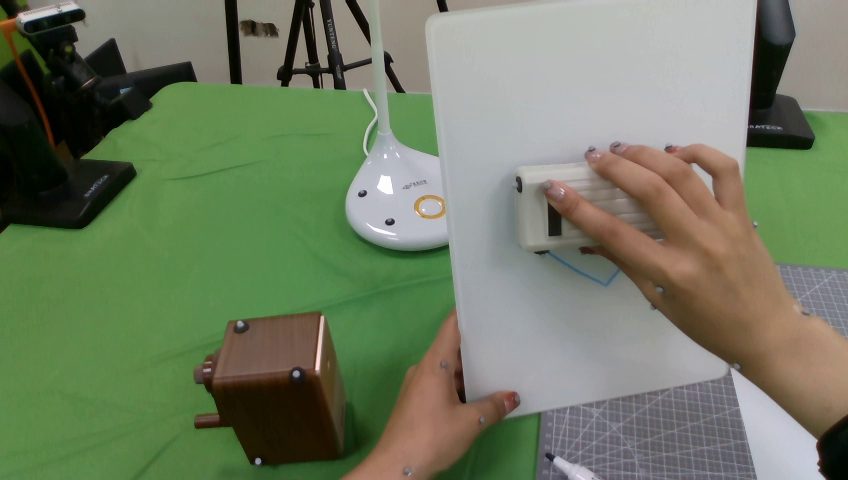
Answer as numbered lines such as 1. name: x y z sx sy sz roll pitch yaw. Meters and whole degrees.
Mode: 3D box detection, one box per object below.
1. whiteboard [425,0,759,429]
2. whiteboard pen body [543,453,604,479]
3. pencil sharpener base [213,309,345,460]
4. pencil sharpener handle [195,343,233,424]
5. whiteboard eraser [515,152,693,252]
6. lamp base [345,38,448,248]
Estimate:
1. whiteboard: 0.116 -0.034 0.490 0.217 0.307 0.142 -9 22 -4
2. whiteboard pen body: 0.141 0.183 0.409 0.139 0.017 0.017 25 48 33
3. pencil sharpener base: -0.104 0.109 0.449 0.077 0.108 0.060 -5 41 0
4. pencil sharpener handle: -0.156 0.107 0.437 0.030 0.068 0.035 -5 28 0
5. whiteboard eraser: 0.117 -0.025 0.401 0.113 0.056 0.041 -6 19 -5
6. lamp base: -0.021 -0.110 0.641 0.161 0.182 0.177 -27 43 -24
